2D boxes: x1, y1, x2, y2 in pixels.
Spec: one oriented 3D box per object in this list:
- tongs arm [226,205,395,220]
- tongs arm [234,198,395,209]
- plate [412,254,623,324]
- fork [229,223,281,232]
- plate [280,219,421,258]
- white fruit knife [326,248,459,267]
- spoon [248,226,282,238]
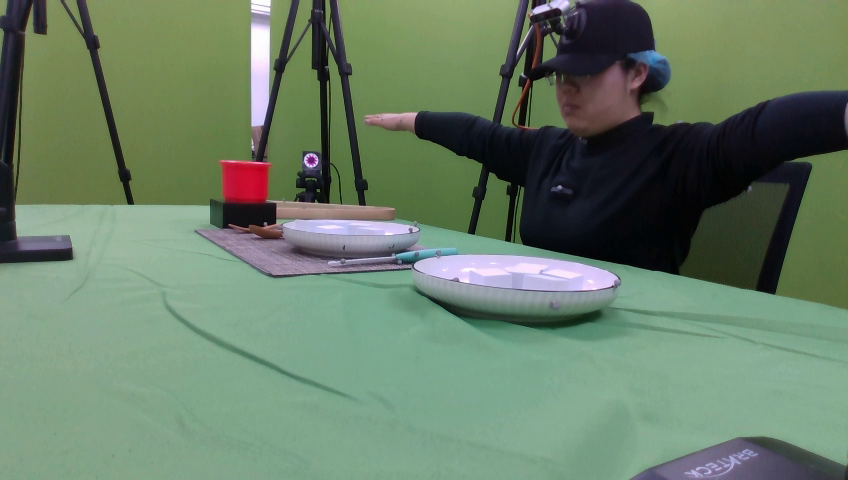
[{"bbox_3d":[-0.247,-0.062,1.381,0.389,0.028,0.028,0,5,-21],"label":"tongs arm"},{"bbox_3d":[-0.263,-0.076,1.460,0.386,0.026,0.050,3,8,-8],"label":"tongs arm"},{"bbox_3d":[0.091,0.047,0.609,0.209,0.038,0.209,2,7,0],"label":"plate"},{"bbox_3d":[-0.244,-0.024,1.090,0.208,0.018,0.028,-3,3,-28],"label":"fork"},{"bbox_3d":[-0.108,-0.002,0.902,0.208,0.039,0.207,3,7,0],"label":"plate"},{"bbox_3d":[-0.034,0.025,0.807,0.208,0.016,0.027,-4,-18,-34],"label":"white fruit knife"},{"bbox_3d":[-0.198,-0.015,1.024,0.195,0.021,0.041,-2,-9,-30],"label":"spoon"}]
